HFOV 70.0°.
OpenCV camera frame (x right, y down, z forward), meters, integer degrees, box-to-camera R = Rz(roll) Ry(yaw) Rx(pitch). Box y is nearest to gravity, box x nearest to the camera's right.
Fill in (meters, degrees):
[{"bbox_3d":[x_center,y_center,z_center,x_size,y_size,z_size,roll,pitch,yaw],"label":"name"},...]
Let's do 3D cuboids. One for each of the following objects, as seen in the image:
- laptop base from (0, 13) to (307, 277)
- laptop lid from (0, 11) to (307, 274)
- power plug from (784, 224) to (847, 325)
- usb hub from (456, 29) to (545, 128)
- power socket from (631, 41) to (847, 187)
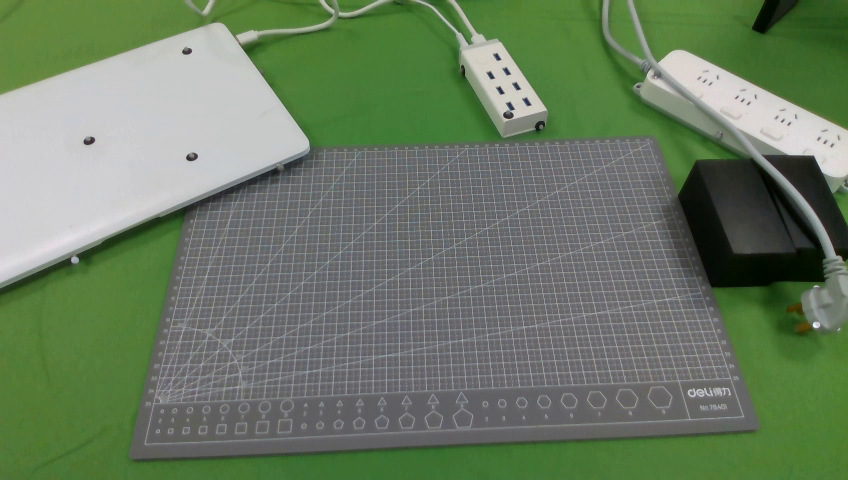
[{"bbox_3d":[-0.318,-0.096,0.585,0.354,0.023,0.233,-28,63,-18],"label":"laptop base"},{"bbox_3d":[-0.317,-0.101,0.574,0.357,0.013,0.239,-26,61,-17],"label":"laptop lid"},{"bbox_3d":[0.308,0.032,0.477,0.035,0.053,0.072,22,58,-19],"label":"power plug"},{"bbox_3d":[0.077,-0.172,0.635,0.049,0.025,0.124,-17,57,-11],"label":"usb hub"},{"bbox_3d":[0.318,-0.130,0.601,0.225,0.033,0.072,38,63,24],"label":"power socket"}]
